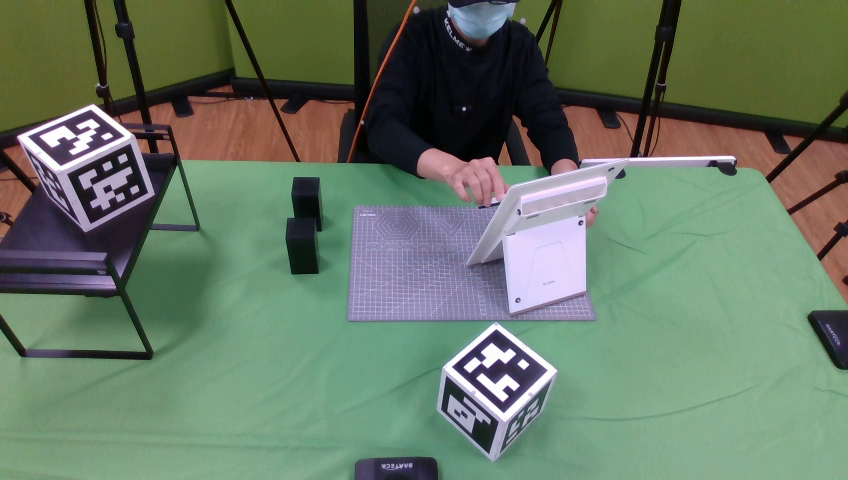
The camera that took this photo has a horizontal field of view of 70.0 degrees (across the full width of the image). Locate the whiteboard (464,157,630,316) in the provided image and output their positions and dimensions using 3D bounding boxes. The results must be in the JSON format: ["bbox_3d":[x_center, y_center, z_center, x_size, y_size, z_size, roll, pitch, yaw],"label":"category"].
[{"bbox_3d":[0.224,0.015,1.041,0.217,0.306,0.143,-14,68,-17],"label":"whiteboard"}]

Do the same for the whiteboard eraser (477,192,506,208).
[{"bbox_3d":[0.139,-0.075,1.095,0.041,0.019,0.101,-13,3,-41],"label":"whiteboard eraser"}]
